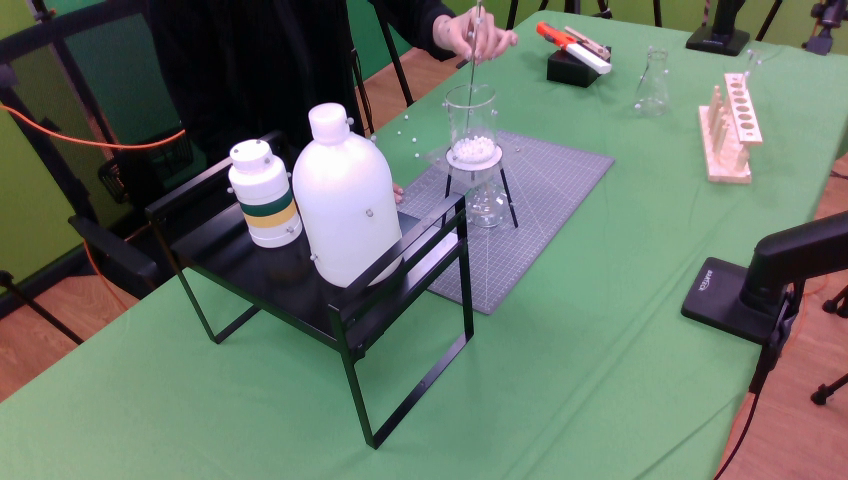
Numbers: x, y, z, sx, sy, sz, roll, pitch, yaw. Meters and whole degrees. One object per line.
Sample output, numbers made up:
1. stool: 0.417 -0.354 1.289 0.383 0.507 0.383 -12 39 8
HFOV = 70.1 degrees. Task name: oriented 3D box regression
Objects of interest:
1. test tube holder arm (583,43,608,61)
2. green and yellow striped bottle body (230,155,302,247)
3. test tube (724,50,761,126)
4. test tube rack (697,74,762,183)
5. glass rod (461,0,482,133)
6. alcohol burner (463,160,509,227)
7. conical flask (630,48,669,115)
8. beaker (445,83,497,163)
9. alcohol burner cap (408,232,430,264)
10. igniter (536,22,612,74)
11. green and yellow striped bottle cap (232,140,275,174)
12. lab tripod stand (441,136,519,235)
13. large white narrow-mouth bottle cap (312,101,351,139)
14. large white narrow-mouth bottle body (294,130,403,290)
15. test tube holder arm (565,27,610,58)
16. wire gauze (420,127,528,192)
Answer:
1. test tube holder arm: 0.379 -0.420 1.341 0.010 0.015 0.087 -39 41 10
2. green and yellow striped bottle body: -0.188 -0.055 0.714 0.063 0.120 0.063 -4 41 4
3. test tube: 0.570 -0.269 1.086 0.017 0.151 0.017 -1 45 1
4. test tube rack: 0.547 -0.208 1.095 0.066 0.085 0.242 5 42 15
5. glass rod: 0.067 -0.240 0.857 0.008 0.200 0.008 3 40 -2
6. alcohol burner: 0.102 -0.081 0.982 0.078 0.119 0.077 -4 43 4
7. conical flask: 0.457 -0.317 1.205 0.075 0.122 0.075 -4 41 4
8. beaker: 0.073 -0.175 0.905 0.074 0.101 0.084 3 41 13
9. alcohol burner cap: -0.010 0.010 0.947 0.034 0.048 0.033 -4 41 4
10. igniter: 0.330 -0.438 1.366 0.057 0.025 0.274 -11 41 -19
11. green and yellow striped bottle cap: -0.192 -0.094 0.680 0.045 0.020 0.045 -5 39 5
12. lab tripod stand: 0.083 -0.086 0.976 0.148 0.132 0.147 -4 42 4
13. large white narrow-mouth bottle cap: -0.089 -0.115 0.579 0.038 0.024 0.037 -3 39 3
14. large white narrow-mouth bottle body: -0.082 -0.047 0.634 0.102 0.195 0.101 -4 39 3
15. test tube holder arm: 0.369 -0.450 1.373 0.013 0.015 0.177 -39 41 10
16. wire gauze: 0.076 -0.131 0.927 0.122 0.011 0.124 -34 49 -25
